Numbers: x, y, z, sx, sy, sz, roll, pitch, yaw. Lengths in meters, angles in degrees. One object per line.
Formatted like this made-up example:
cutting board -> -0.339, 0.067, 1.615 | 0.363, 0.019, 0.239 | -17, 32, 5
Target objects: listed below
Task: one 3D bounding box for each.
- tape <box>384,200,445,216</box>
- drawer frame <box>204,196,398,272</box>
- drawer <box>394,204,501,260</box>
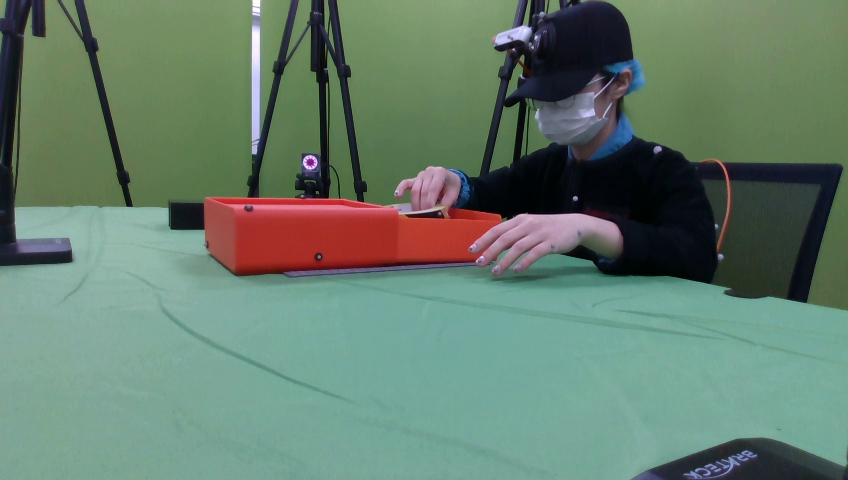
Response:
tape -> -0.023, -0.026, 0.908 | 0.117, 0.052, 0.117 | -3, 12, 1
drawer frame -> -0.172, -0.016, 0.828 | 0.215, 0.082, 0.200 | -3, 9, -30
drawer -> -0.025, -0.017, 0.913 | 0.213, 0.073, 0.193 | -1, 9, -31
